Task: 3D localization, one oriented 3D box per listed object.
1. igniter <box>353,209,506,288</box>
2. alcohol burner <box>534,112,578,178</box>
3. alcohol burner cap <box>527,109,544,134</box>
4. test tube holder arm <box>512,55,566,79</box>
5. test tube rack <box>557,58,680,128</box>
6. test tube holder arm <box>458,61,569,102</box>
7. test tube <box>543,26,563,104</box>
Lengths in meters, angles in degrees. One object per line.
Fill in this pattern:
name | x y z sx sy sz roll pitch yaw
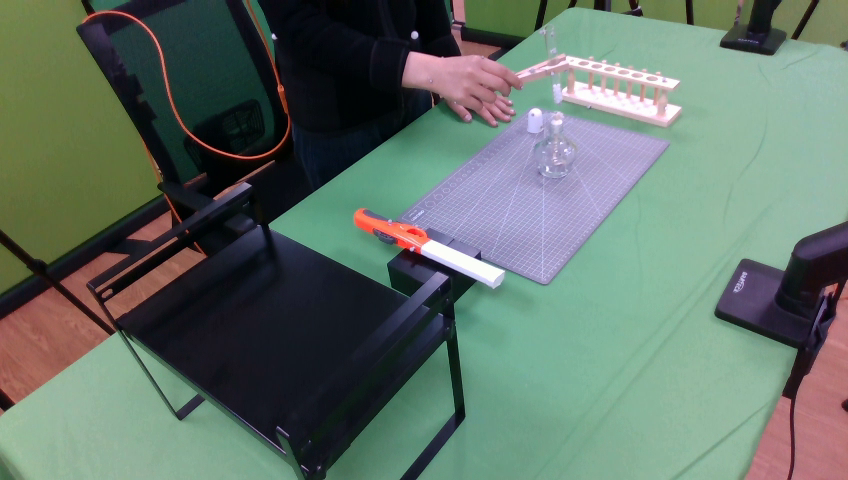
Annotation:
igniter | -0.003 0.006 0.892 0.274 0.025 0.057 24 37 31
alcohol burner | 0.232 -0.170 1.066 0.078 0.119 0.077 -5 39 5
alcohol burner cap | 0.222 -0.238 1.203 0.034 0.048 0.033 -6 40 5
test tube holder arm | 0.182 -0.269 0.957 0.088 0.015 0.010 -21 51 4
test tube rack | 0.395 -0.309 1.230 0.240 0.085 0.067 25 50 33
test tube holder arm | 0.140 -0.251 0.959 0.178 0.015 0.013 -15 51 9
test tube | 0.204 -0.271 0.953 0.017 0.151 0.017 -9 53 13
